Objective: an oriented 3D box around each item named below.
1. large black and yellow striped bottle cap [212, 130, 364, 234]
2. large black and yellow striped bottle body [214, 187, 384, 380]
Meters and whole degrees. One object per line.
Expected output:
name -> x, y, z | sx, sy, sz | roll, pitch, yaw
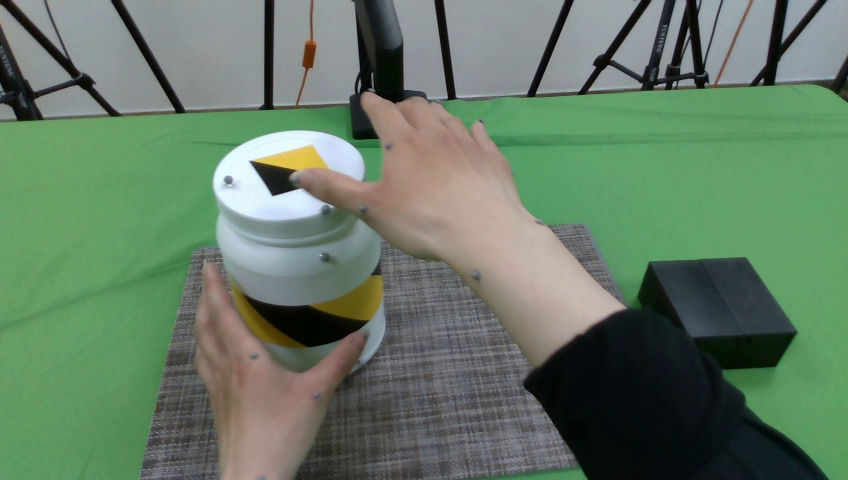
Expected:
large black and yellow striped bottle cap -> -0.104, -0.048, 0.468 | 0.115, 0.019, 0.114 | 2, 43, -1
large black and yellow striped bottle body -> -0.104, 0.018, 0.525 | 0.131, 0.185, 0.129 | 0, 41, 0
